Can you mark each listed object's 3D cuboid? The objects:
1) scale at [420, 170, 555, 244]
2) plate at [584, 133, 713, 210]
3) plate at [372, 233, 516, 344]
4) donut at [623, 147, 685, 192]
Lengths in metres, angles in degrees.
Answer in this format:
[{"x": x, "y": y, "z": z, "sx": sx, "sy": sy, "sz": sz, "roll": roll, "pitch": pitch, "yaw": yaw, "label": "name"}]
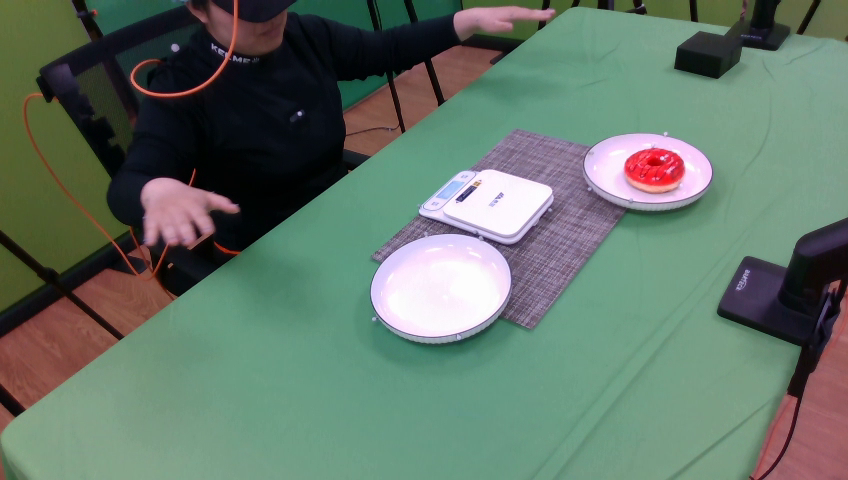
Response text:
[{"x": 0.106, "y": -0.065, "z": 1.029, "sx": 0.199, "sy": 0.032, "sz": 0.149, "roll": 21, "pitch": 48, "yaw": 32, "label": "scale"}, {"x": 0.379, "y": -0.113, "z": 1.030, "sx": 0.209, "sy": 0.038, "sz": 0.208, "roll": -4, "pitch": 41, "yaw": 4, "label": "plate"}, {"x": 0.030, "y": 0.072, "z": 0.879, "sx": 0.207, "sy": 0.039, "sz": 0.206, "roll": -6, "pitch": 42, "yaw": 6, "label": "plate"}, {"x": 0.388, "y": -0.119, "z": 1.019, "sx": 0.099, "sy": 0.048, "sz": 0.098, "roll": -4, "pitch": 42, "yaw": 4, "label": "donut"}]
